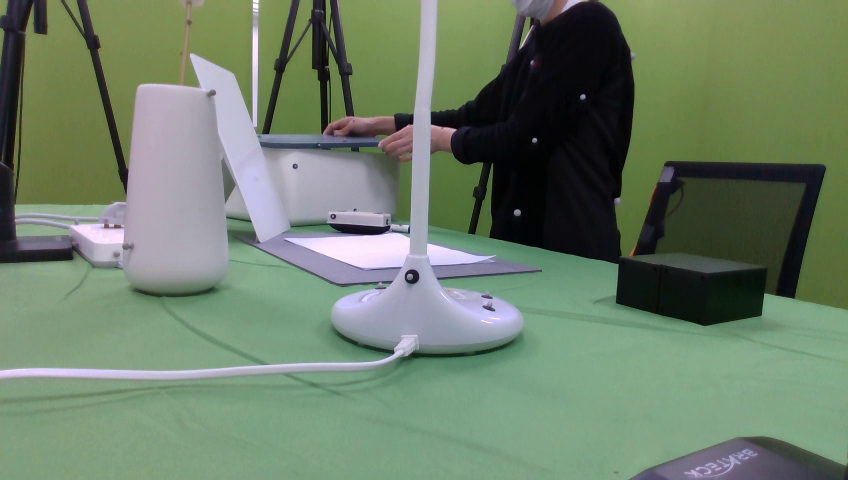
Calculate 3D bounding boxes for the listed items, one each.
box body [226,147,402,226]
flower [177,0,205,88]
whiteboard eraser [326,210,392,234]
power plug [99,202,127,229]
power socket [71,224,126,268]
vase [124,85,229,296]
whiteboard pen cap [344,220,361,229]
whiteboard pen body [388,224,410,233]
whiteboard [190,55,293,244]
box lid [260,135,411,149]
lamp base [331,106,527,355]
[{"bbox_3d":[-0.254,-0.128,1.379,0.253,0.160,0.366,8,9,36],"label":"box body"},{"bbox_3d":[-0.243,-0.130,0.609,0.044,0.361,0.038,-5,-12,12],"label":"flower"},{"bbox_3d":[-0.121,-0.034,1.131,0.112,0.042,0.056,4,8,13],"label":"whiteboard eraser"},{"bbox_3d":[-0.415,-0.026,0.848,0.073,0.052,0.035,6,5,-28],"label":"power plug"},{"bbox_3d":[-0.409,0.004,0.793,0.072,0.032,0.225,-2,8,-37],"label":"power socket"},{"bbox_3d":[-0.244,-0.047,0.598,0.098,0.200,0.098,3,8,0],"label":"vase"},{"bbox_3d":[-0.145,-0.031,1.231,0.033,0.018,0.018,7,9,17],"label":"whiteboard pen cap"},{"bbox_3d":[-0.088,-0.026,1.214,0.140,0.017,0.017,5,8,18],"label":"whiteboard pen body"},{"bbox_3d":[-0.362,-0.129,1.029,0.144,0.305,0.217,-18,7,3],"label":"whiteboard"},{"bbox_3d":[-0.236,-0.220,1.351,0.262,0.015,0.373,13,17,43],"label":"box lid"},{"bbox_3d":[0.006,-0.012,0.478,0.161,0.180,0.179,2,10,2],"label":"lamp base"}]
